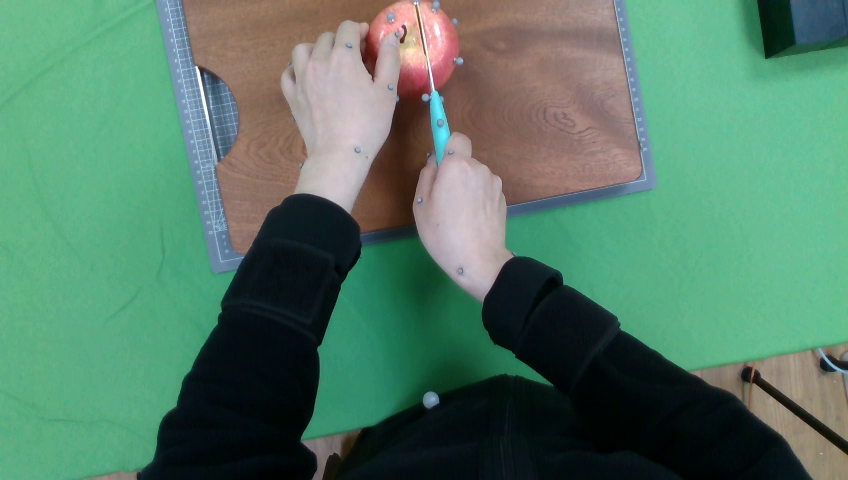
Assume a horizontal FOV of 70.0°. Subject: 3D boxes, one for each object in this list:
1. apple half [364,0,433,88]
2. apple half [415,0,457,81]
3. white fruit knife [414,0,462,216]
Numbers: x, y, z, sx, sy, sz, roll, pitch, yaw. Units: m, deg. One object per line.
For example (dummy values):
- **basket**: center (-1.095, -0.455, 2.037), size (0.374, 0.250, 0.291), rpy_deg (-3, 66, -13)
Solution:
- **apple half**: center (-0.025, -0.172, 0.535), size (0.053, 0.074, 0.081), rpy_deg (-15, 95, 5)
- **apple half**: center (0.012, -0.180, 0.535), size (0.033, 0.081, 0.081), rpy_deg (-11, 92, 0)
- **white fruit knife**: center (0.006, -0.123, 0.511), size (0.016, 0.027, 0.207), rpy_deg (-11, 91, -5)
